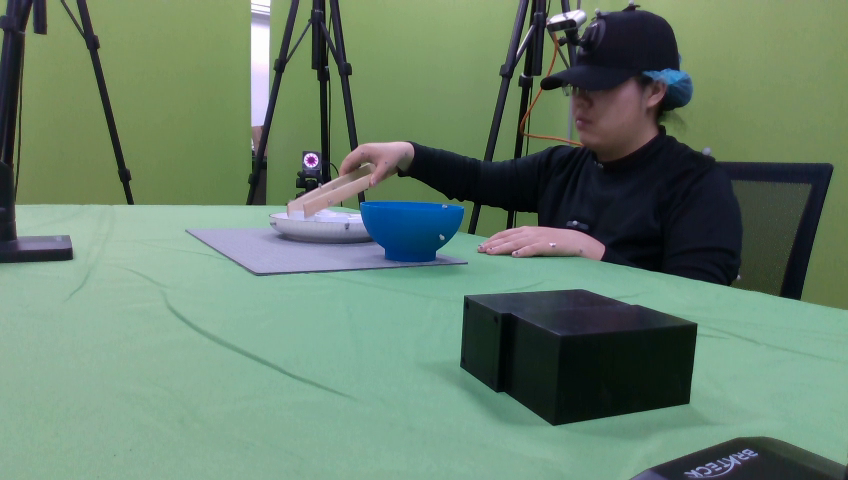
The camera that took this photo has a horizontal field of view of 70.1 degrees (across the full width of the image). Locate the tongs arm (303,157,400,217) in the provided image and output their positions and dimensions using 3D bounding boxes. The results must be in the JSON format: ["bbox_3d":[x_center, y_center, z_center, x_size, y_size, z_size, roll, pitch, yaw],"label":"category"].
[{"bbox_3d":[-0.125,-0.109,1.157,0.028,0.028,0.388,-1,18,23],"label":"tongs arm"}]

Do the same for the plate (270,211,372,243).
[{"bbox_3d":[-0.161,-0.023,1.054,0.208,0.039,0.207,2,7,0],"label":"plate"}]

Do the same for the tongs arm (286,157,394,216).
[{"bbox_3d":[-0.147,-0.110,1.165,0.050,0.026,0.385,1,19,18],"label":"tongs arm"}]

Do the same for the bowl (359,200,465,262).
[{"bbox_3d":[-0.018,-0.013,0.859,0.151,0.077,0.151,2,7,0],"label":"bowl"}]
